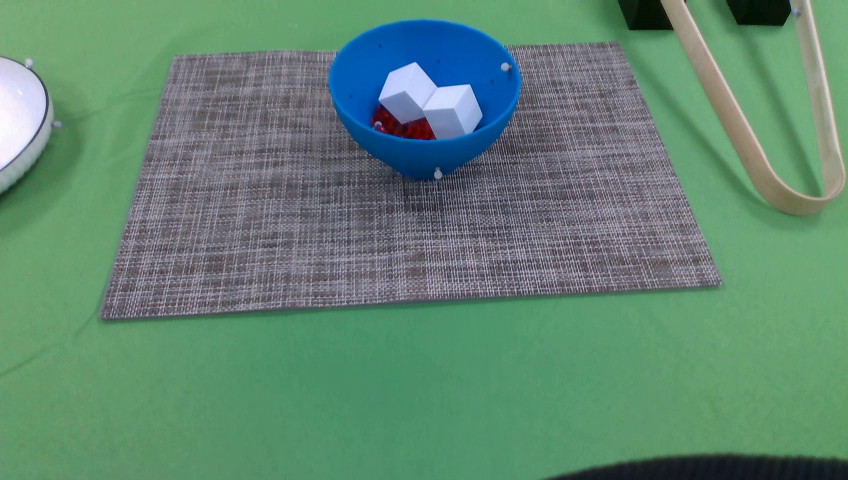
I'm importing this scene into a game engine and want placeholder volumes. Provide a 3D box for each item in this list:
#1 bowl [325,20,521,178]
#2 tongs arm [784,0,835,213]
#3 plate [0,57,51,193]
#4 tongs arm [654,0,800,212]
[{"bbox_3d":[-0.002,-0.105,0.500,0.151,0.077,0.150,1,52,-1],"label":"bowl"},{"bbox_3d":[0.337,-0.197,0.571,0.051,0.027,0.382,6,65,-1],"label":"tongs arm"},{"bbox_3d":[-0.417,-0.078,0.499,0.209,0.038,0.207,1,53,-1],"label":"plate"},{"bbox_3d":[0.248,-0.197,0.568,0.028,0.028,0.384,-7,65,-11],"label":"tongs arm"}]
